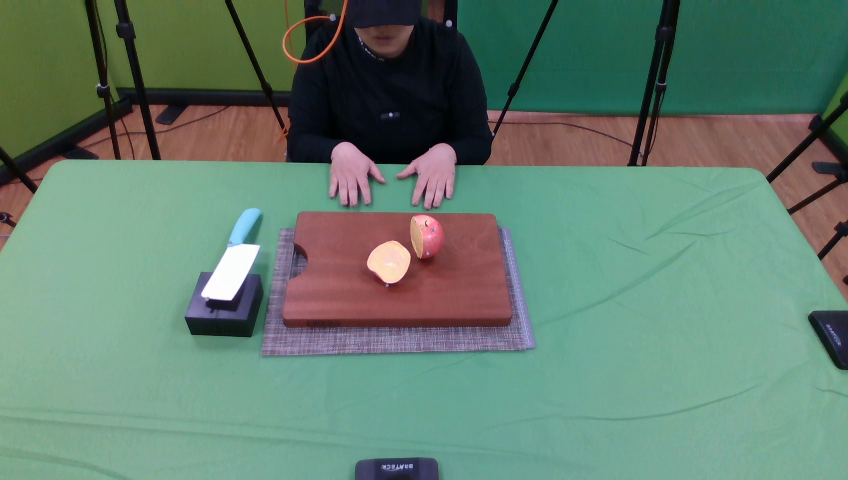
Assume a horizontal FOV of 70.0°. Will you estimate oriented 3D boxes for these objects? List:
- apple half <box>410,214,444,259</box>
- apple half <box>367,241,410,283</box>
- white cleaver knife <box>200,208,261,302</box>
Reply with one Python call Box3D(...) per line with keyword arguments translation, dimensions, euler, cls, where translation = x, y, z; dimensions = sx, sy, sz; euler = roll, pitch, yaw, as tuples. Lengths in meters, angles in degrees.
Box3D(translation=(0.009, -0.007, 1.131), dimensions=(0.053, 0.075, 0.080), euler=(-8, 43, -17), cls="apple half")
Box3D(translation=(-0.059, 0.043, 1.100), dimensions=(0.081, 0.033, 0.081), euler=(-3, 67, 7), cls="apple half")
Box3D(translation=(-0.338, 0.024, 1.116), dimensions=(0.066, 0.021, 0.285), euler=(7, 35, -3), cls="white cleaver knife")
